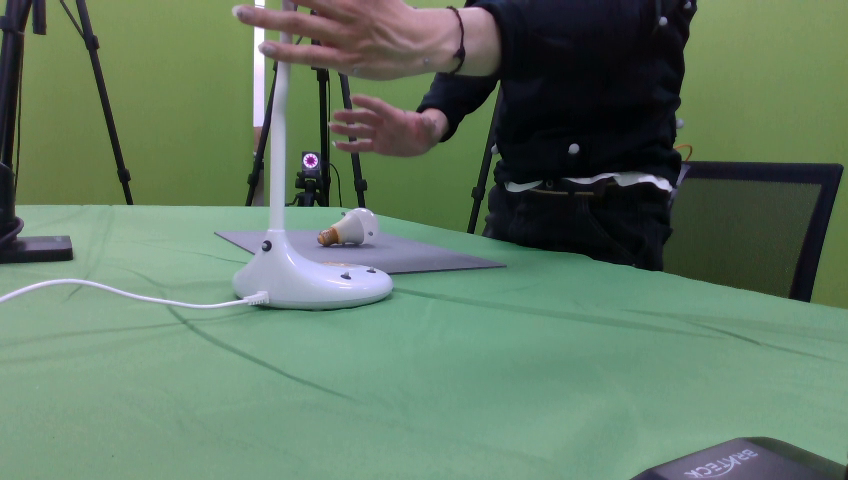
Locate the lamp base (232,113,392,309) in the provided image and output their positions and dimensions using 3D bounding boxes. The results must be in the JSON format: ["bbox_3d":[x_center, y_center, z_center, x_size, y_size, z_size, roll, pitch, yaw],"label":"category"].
[{"bbox_3d":[-0.113,-0.032,0.595,0.160,0.180,0.179,4,10,17],"label":"lamp base"}]

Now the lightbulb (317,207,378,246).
[{"bbox_3d":[-0.123,-0.016,0.968,0.108,0.059,0.059,-21,20,-33],"label":"lightbulb"}]
